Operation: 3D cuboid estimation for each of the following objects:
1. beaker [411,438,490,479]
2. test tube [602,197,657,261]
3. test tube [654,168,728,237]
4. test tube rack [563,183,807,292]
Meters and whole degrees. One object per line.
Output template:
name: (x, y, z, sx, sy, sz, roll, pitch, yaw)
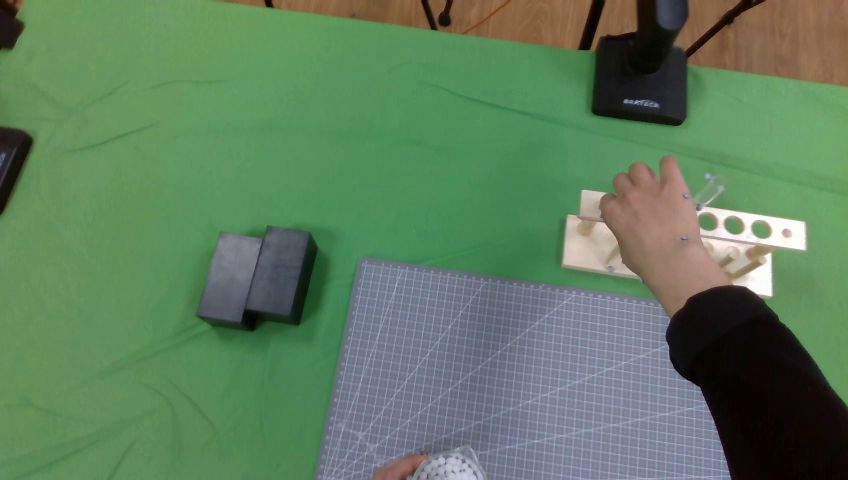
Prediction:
beaker: (0.026, 0.239, 0.601, 0.074, 0.101, 0.083, 23, 72, 7)
test tube: (0.218, -0.009, 0.649, 0.017, 0.151, 0.017, 0, 68, 0)
test tube: (0.283, -0.035, 0.653, 0.017, 0.151, 0.017, 1, 68, -3)
test tube rack: (0.291, -0.001, 0.693, 0.242, 0.085, 0.066, 9, 71, 3)
